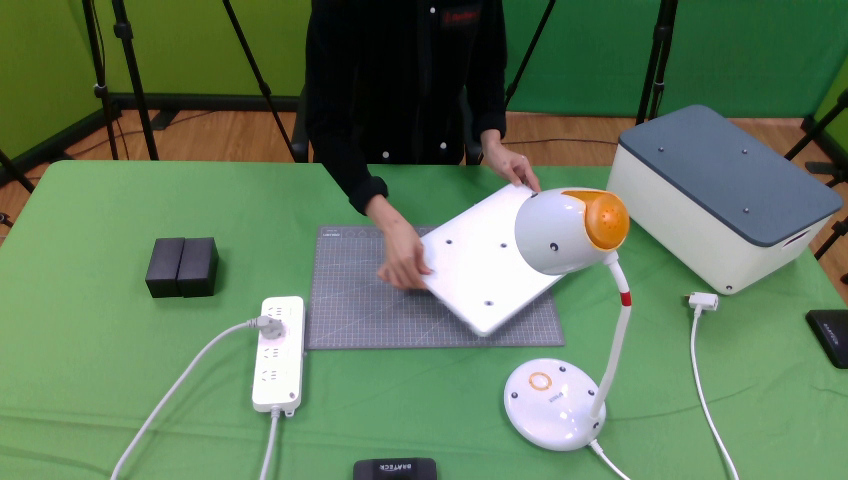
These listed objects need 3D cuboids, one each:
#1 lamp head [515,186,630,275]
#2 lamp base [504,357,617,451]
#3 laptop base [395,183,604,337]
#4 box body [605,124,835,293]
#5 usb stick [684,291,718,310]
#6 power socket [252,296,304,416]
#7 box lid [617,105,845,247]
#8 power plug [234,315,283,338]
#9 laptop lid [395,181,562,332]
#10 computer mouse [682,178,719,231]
[{"bbox_3d":[0.188,-0.013,0.728,0.112,0.112,0.122,-25,9,-25],"label":"lamp head"},{"bbox_3d":[0.220,0.211,0.903,0.160,0.181,0.178,-33,59,-30],"label":"lamp base"},{"bbox_3d":[0.149,0.023,1.151,0.354,0.023,0.234,-32,55,-32],"label":"laptop base"},{"bbox_3d":[0.582,-0.089,1.230,0.254,0.161,0.361,-22,52,-23],"label":"box body"},{"bbox_3d":[0.509,0.111,1.121,0.059,0.021,0.027,6,54,46],"label":"usb stick"},{"bbox_3d":[-0.238,0.181,0.997,0.072,0.033,0.225,-3,47,-5],"label":"power socket"},{"bbox_3d":[0.586,-0.138,1.176,0.263,0.015,0.369,-22,51,-23],"label":"box lid"},{"bbox_3d":[-0.269,0.143,1.000,0.072,0.053,0.035,4,47,3],"label":"power plug"},{"bbox_3d":[0.148,0.013,1.143,0.357,0.013,0.240,-30,55,-31],"label":"laptop lid"},{"bbox_3d":[0.596,-0.078,1.290,0.117,0.041,0.062,56,45,-7],"label":"computer mouse"}]
